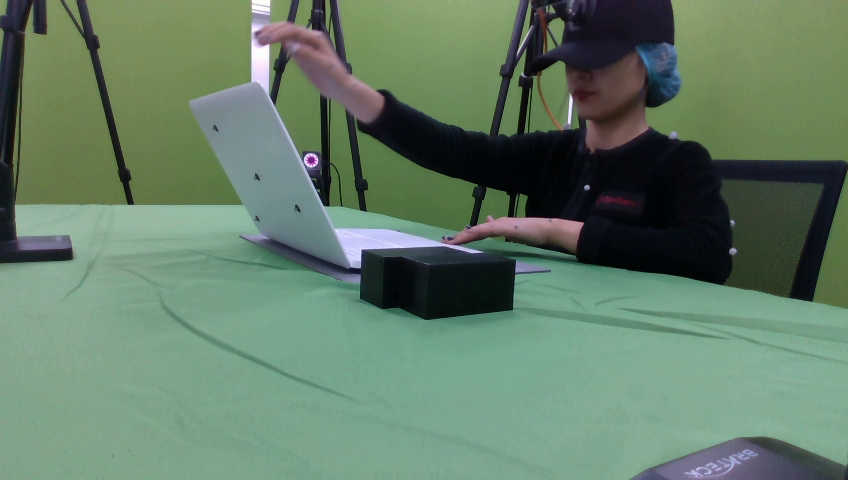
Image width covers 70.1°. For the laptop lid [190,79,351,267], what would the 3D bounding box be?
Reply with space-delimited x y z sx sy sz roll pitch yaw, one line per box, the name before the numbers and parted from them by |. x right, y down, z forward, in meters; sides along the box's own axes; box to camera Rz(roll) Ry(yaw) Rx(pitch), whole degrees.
laptop lid | -0.220 -0.087 0.809 0.013 0.242 0.355 -34 25 -24

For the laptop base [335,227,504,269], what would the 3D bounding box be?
laptop base | -0.077 0.009 0.914 0.237 0.023 0.352 1 6 -33
